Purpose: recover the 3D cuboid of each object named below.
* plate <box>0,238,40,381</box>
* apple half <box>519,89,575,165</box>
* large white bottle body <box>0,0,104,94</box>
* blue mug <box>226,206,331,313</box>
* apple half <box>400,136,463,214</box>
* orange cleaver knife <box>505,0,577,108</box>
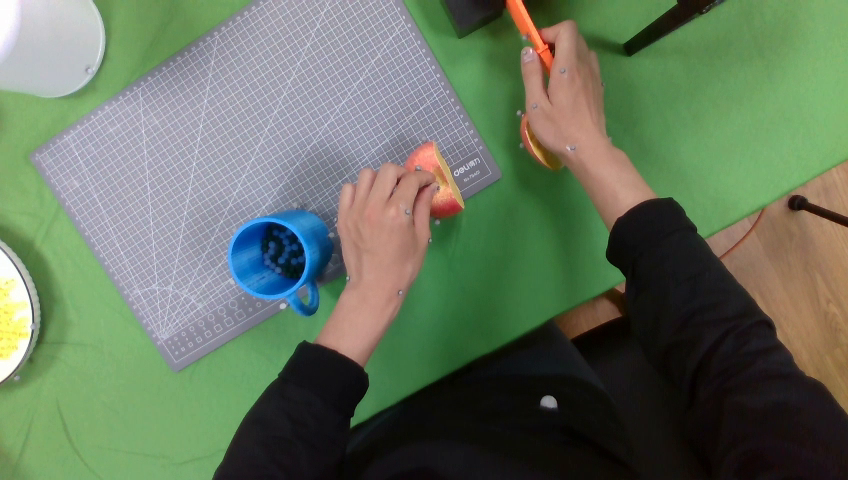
[{"bbox_3d":[-0.545,0.073,0.705,0.209,0.038,0.209,0,99,3],"label":"plate"},{"bbox_3d":[0.125,-0.116,0.642,0.082,0.032,0.081,0,91,-39],"label":"apple half"},{"bbox_3d":[-0.419,-0.215,0.581,0.130,0.184,0.131,0,98,3],"label":"large white bottle body"},{"bbox_3d":[-0.143,0.023,0.642,0.082,0.105,0.117,-22,97,6],"label":"blue mug"},{"bbox_3d":[0.003,-0.063,0.639,0.053,0.074,0.081,-25,101,10],"label":"apple half"},{"bbox_3d":[0.095,-0.224,0.600,0.012,0.076,0.213,-32,119,10],"label":"orange cleaver knife"}]
